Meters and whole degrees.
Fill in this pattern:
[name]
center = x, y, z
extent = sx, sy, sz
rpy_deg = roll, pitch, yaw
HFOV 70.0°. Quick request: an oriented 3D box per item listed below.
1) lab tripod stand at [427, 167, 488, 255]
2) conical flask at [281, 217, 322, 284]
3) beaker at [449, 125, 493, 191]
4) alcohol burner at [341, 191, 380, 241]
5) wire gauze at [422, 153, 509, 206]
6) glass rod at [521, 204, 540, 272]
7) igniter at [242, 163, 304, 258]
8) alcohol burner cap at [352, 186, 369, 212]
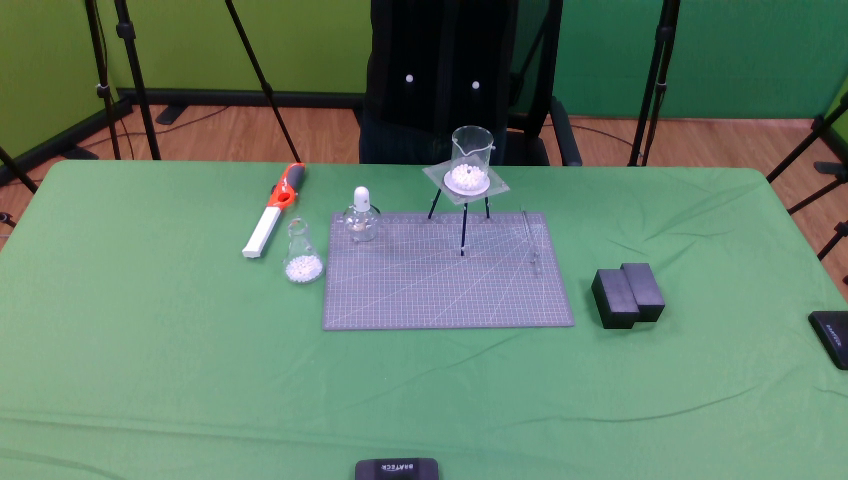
[lab tripod stand]
center = 0.076, -0.068, 1.191
extent = 0.148, 0.132, 0.147
rpy_deg = 3, 44, -2
[conical flask]
center = -0.225, 0.016, 1.097
extent = 0.075, 0.122, 0.075
rpy_deg = 3, 46, -2
[beaker]
center = 0.083, -0.146, 1.108
extent = 0.074, 0.101, 0.083
rpy_deg = 15, 47, 11
[alcohol burner]
center = -0.123, -0.054, 1.175
extent = 0.078, 0.119, 0.077
rpy_deg = 4, 47, -4
[wire gauze]
center = 0.078, -0.115, 1.144
extent = 0.125, 0.011, 0.120
rpy_deg = -21, 49, -20
[glass rod]
center = 0.214, -0.008, 1.230
extent = 0.008, 0.008, 0.198
rpy_deg = 0, 44, -4
[igniter]
center = -0.305, -0.069, 1.239
extent = 0.057, 0.025, 0.275
rpy_deg = 2, 45, 12
[alcohol burner cap]
center = -0.121, -0.079, 1.149
extent = 0.034, 0.048, 0.033
rpy_deg = 1, 40, -1
